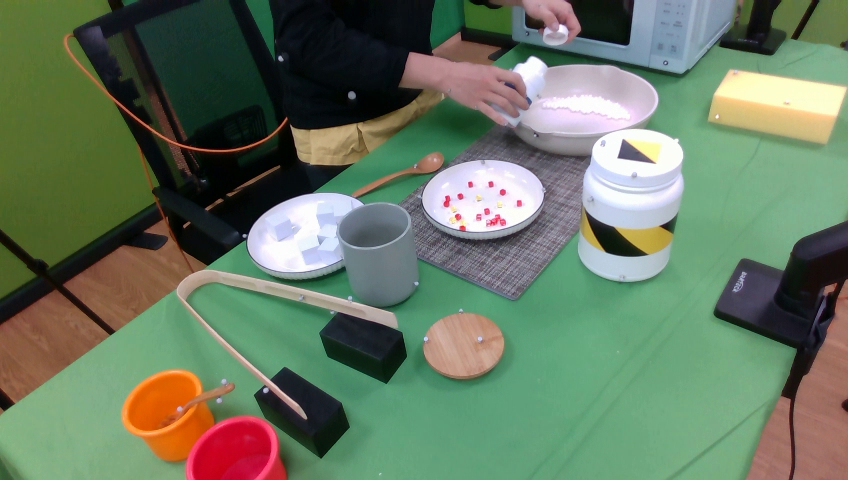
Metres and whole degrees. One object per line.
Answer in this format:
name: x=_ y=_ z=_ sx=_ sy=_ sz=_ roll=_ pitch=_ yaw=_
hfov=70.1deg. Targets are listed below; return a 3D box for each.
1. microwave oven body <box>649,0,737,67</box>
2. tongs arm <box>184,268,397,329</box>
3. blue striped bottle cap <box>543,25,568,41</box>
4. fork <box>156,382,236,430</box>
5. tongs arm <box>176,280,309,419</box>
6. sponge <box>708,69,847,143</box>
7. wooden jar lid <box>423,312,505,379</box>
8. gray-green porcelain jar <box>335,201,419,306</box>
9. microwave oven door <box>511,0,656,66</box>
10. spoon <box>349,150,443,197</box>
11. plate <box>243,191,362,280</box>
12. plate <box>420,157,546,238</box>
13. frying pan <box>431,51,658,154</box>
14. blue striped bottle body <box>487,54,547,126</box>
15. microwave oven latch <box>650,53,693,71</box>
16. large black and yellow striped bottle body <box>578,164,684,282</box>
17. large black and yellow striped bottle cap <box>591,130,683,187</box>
microwave oven body: x=0.475 y=-0.602 z=1.411 sx=0.438 sy=0.261 sz=0.327 roll=23 pitch=50 yaw=32
tongs arm: x=-0.202 y=0.084 z=0.848 sx=0.382 sy=0.027 sz=0.051 roll=11 pitch=45 yaw=35
blue striped bottle cap: x=0.242 y=-0.381 z=1.110 sx=0.044 sy=0.020 sz=0.044 roll=8 pitch=11 yaw=-1
fork: x=-0.262 y=0.189 z=0.690 sx=0.018 sy=0.206 sz=0.028 roll=48 pitch=43 yaw=-7
tongs arm: x=-0.254 y=0.133 z=0.801 sx=0.028 sy=0.028 sz=0.384 roll=-41 pitch=41 yaw=-23
sponge: x=0.663 y=-0.256 z=1.141 sx=0.205 sy=0.061 sz=0.118 roll=18 pitch=47 yaw=28
wooden jar lid: x=0.053 y=0.142 z=0.800 sx=0.108 sy=0.021 sz=0.108 roll=-5 pitch=39 yaw=4
gray-green porcelain jar: x=-0.064 y=0.024 z=0.872 sx=0.106 sy=0.127 sz=0.105 roll=-4 pitch=41 yaw=4
microwave oven door: x=0.351 y=-0.540 z=1.349 sx=0.353 sy=0.245 sz=0.039 roll=24 pitch=50 yaw=31
spoon: x=-0.051 y=-0.123 z=1.120 sx=0.194 sy=0.022 sz=0.041 roll=-22 pitch=62 yaw=-18
plate: x=-0.188 y=-0.005 z=0.992 sx=0.207 sy=0.039 sz=0.206 roll=-4 pitch=40 yaw=3
plate: x=0.099 y=-0.067 z=1.017 sx=0.209 sy=0.038 sz=0.208 roll=-4 pitch=40 yaw=4
frying pan: x=0.216 y=-0.302 z=1.223 sx=0.484 sy=0.103 sz=0.308 roll=29 pitch=50 yaw=24
blue striped bottle body: x=0.171 y=-0.270 z=1.078 sx=0.062 sy=0.063 sz=0.121 roll=36 pitch=94 yaw=39
microwave oven latch: x=0.531 y=-0.386 z=1.301 sx=0.078 sy=0.029 sz=0.030 roll=26 pitch=51 yaw=33
large black and yellow striped bottle body: x=0.291 y=-0.046 z=0.859 sx=0.131 sy=0.185 sz=0.130 roll=-4 pitch=41 yaw=4
large black and yellow striped bottle cap: x=0.282 y=-0.111 z=0.803 sx=0.115 sy=0.019 sz=0.114 roll=-3 pitch=41 yaw=3
